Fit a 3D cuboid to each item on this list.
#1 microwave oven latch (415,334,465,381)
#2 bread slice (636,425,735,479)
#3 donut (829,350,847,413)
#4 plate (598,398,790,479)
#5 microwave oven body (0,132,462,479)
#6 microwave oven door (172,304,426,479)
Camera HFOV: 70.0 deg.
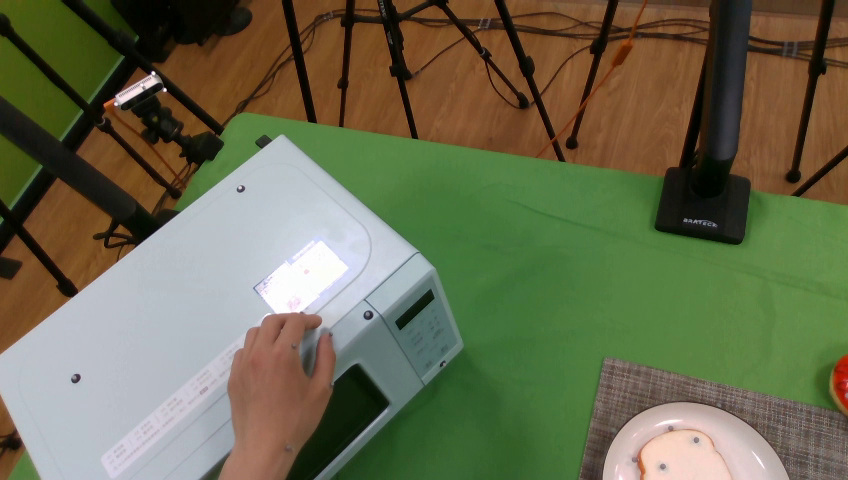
[{"bbox_3d":[0.021,0.153,0.825,0.079,0.030,0.030,-41,60,-12],"label":"microwave oven latch"},{"bbox_3d":[0.306,0.282,0.701,0.105,0.019,0.130,-15,58,3],"label":"bread slice"},{"bbox_3d":[0.534,0.172,0.714,0.099,0.049,0.098,-8,54,11],"label":"donut"},{"bbox_3d":[0.307,0.288,0.697,0.207,0.039,0.205,-5,59,9],"label":"plate"},{"bbox_3d":[-0.225,0.138,0.775,0.441,0.263,0.323,-43,60,-13],"label":"microwave oven body"},{"bbox_3d":[-0.159,0.244,0.690,0.355,0.246,0.039,-42,59,-13],"label":"microwave oven door"}]
